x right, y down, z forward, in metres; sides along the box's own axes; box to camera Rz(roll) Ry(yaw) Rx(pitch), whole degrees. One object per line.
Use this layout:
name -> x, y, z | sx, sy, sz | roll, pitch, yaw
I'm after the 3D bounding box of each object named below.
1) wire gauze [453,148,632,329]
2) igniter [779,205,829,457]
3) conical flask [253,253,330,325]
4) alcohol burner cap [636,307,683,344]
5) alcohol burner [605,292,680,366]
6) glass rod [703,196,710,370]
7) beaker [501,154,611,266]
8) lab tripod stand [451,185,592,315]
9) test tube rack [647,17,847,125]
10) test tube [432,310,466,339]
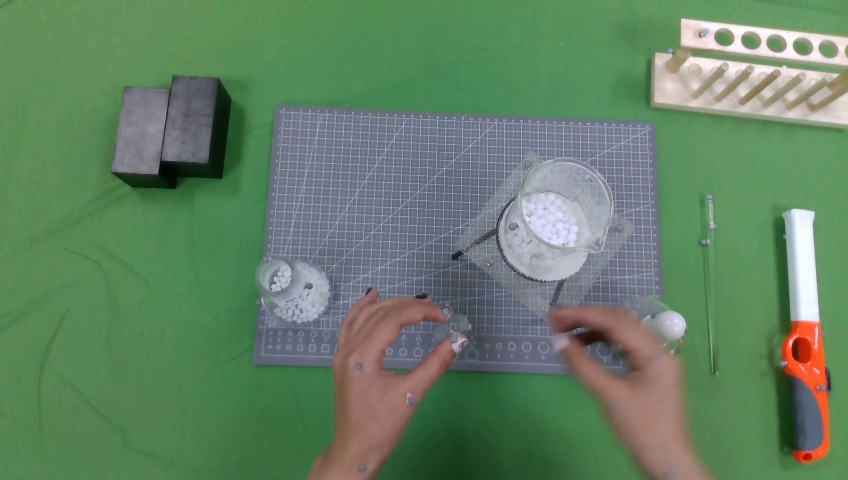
wire gauze -> 0.109, -0.005, 0.556 | 0.125, 0.011, 0.121 | 39, 82, 4
igniter -> 0.419, 0.097, 0.672 | 0.057, 0.025, 0.275 | 7, 78, -12
conical flask -> -0.138, 0.043, 0.609 | 0.075, 0.122, 0.075 | 1, 78, -2
alcohol burner cap -> 0.230, 0.080, 0.584 | 0.034, 0.048, 0.033 | 2, 71, -5
alcohol burner -> 0.228, 0.089, 0.619 | 0.078, 0.119, 0.077 | 0, 77, 1
glass rod -> 0.322, 0.047, 0.688 | 0.008, 0.008, 0.199 | 4, 81, -2
beaker -> 0.107, -0.018, 0.510 | 0.074, 0.100, 0.083 | -36, 82, -8
lab tripod stand -> 0.105, 0.007, 0.621 | 0.148, 0.132, 0.148 | 0, 79, -1
test tube rack -> 0.394, -0.193, 0.701 | 0.242, 0.085, 0.066 | 6, 77, -1
test tube -> 0.019, 0.072, 0.507 | 0.017, 0.150, 0.017 | 1, 78, -3
